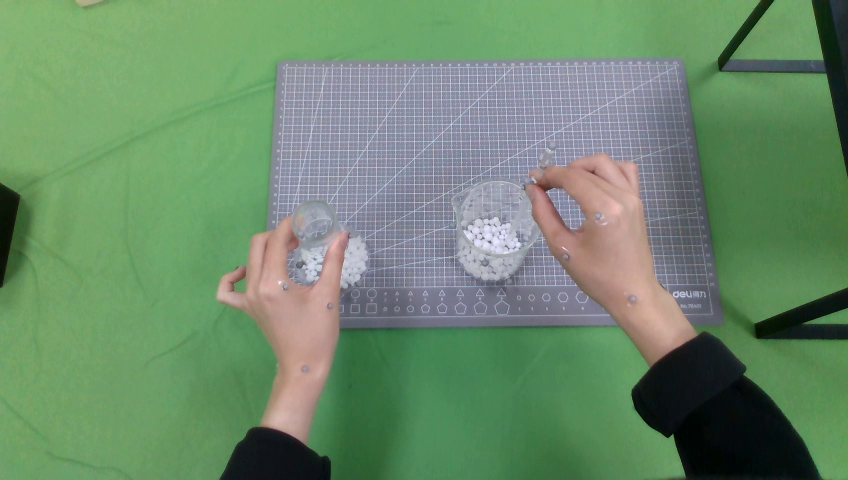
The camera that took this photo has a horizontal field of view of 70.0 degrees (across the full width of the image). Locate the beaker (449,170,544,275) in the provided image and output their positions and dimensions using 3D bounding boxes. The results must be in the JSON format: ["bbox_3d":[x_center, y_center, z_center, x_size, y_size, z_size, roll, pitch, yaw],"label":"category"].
[{"bbox_3d":[0.061,-0.012,0.564,0.084,0.101,0.073,22,74,8],"label":"beaker"}]

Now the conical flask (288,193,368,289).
[{"bbox_3d":[-0.092,-0.004,0.548,0.075,0.122,0.075,0,72,-1],"label":"conical flask"}]

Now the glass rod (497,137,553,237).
[{"bbox_3d":[0.081,-0.037,0.508,0.008,0.200,0.008,1,72,-3],"label":"glass rod"}]
